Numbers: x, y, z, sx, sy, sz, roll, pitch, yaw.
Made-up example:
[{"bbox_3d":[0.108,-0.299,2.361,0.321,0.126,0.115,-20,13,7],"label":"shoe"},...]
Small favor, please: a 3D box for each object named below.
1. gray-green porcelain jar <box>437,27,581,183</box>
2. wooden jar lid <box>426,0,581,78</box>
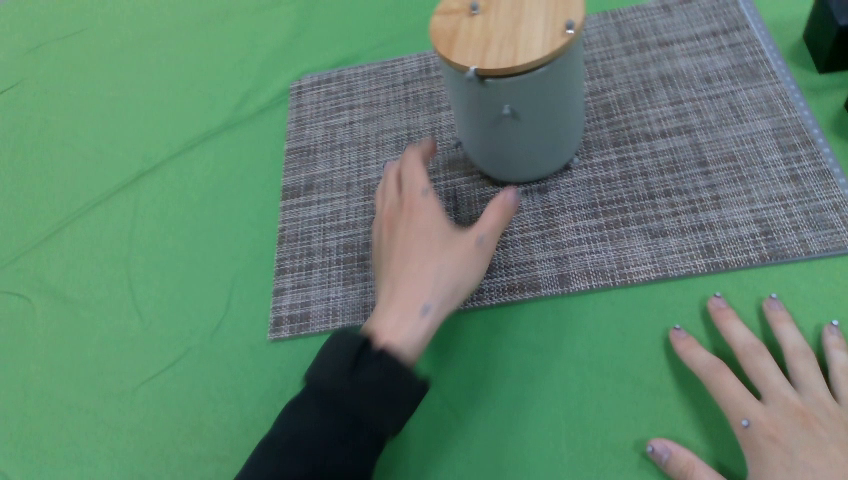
[{"bbox_3d":[0.071,-0.116,0.483,0.105,0.128,0.105,-7,56,10],"label":"gray-green porcelain jar"},{"bbox_3d":[0.056,-0.149,0.430,0.108,0.021,0.107,-6,56,10],"label":"wooden jar lid"}]
